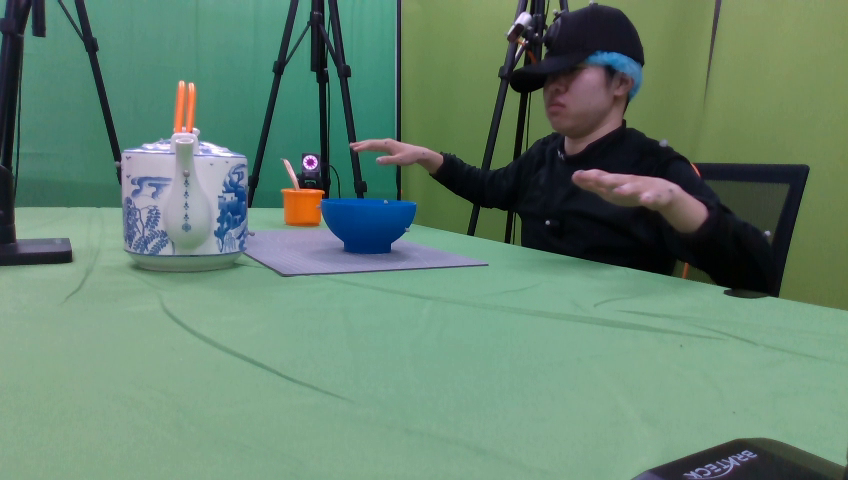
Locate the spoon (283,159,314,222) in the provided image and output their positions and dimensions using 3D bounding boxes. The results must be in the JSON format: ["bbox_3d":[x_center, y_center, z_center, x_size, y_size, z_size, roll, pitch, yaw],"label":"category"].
[{"bbox_3d":[-0.280,-0.111,1.323,0.042,0.193,0.021,1,-37,-34],"label":"spoon"}]

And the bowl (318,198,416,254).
[{"bbox_3d":[-0.089,-0.022,0.941,0.151,0.077,0.151,2,7,0],"label":"bowl"}]

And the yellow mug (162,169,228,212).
[{"bbox_3d":[-0.366,-0.083,0.995,0.100,0.064,0.131,5,7,16],"label":"yellow mug"}]

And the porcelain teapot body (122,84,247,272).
[{"bbox_3d":[-0.286,-0.075,0.733,0.146,0.225,0.204,0,8,-24],"label":"porcelain teapot body"}]

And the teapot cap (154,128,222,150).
[{"bbox_3d":[-0.294,-0.117,0.754,0.085,0.044,0.085,4,9,0],"label":"teapot cap"}]
